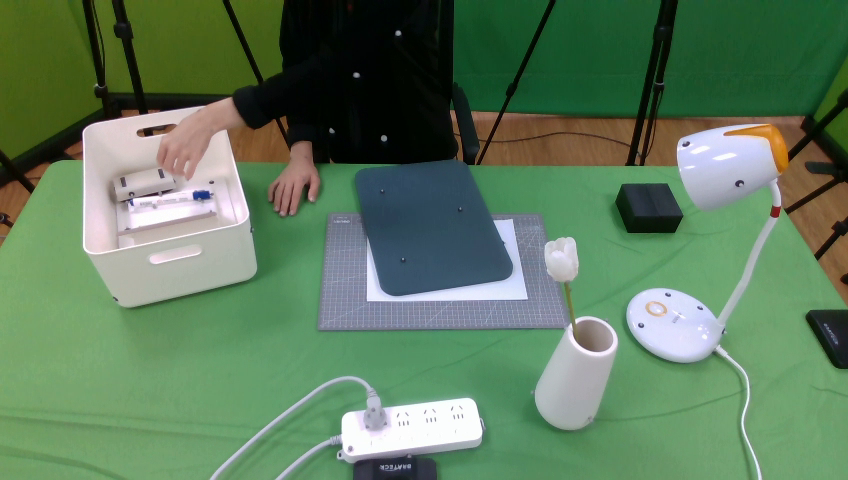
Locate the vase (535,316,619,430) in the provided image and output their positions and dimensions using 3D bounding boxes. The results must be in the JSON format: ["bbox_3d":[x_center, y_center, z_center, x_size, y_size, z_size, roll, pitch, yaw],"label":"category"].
[{"bbox_3d":[0.229,0.200,0.900,0.098,0.201,0.097,3,46,-3],"label":"vase"}]

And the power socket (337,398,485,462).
[{"bbox_3d":[-0.018,0.285,0.914,0.227,0.033,0.071,-4,46,-8],"label":"power socket"}]

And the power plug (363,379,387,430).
[{"bbox_3d":[-0.072,0.252,0.911,0.035,0.053,0.072,3,40,0],"label":"power plug"}]

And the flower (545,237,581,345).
[{"bbox_3d":[0.213,0.137,0.846,0.038,0.364,0.044,21,55,40],"label":"flower"}]

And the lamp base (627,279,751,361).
[{"bbox_3d":[0.460,0.100,1.027,0.178,0.181,0.160,27,51,17],"label":"lamp base"}]

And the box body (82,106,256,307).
[{"bbox_3d":[-0.471,-0.070,1.131,0.254,0.161,0.361,-14,49,-17],"label":"box body"}]

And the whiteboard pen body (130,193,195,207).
[{"bbox_3d":[-0.499,-0.080,1.187,0.141,0.017,0.017,-8,47,-16],"label":"whiteboard pen body"}]

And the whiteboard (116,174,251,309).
[{"bbox_3d":[-0.473,-0.055,1.130,0.217,0.144,0.303,-15,50,-16],"label":"whiteboard"}]

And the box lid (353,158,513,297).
[{"bbox_3d":[0.008,-0.039,1.242,0.264,0.015,0.369,-8,47,-12],"label":"box lid"}]

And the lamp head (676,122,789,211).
[{"bbox_3d":[0.423,-0.104,0.819,0.122,0.113,0.112,-13,33,40],"label":"lamp head"}]

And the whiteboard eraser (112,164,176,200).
[{"bbox_3d":[-0.567,-0.115,1.230,0.113,0.042,0.055,-17,57,-22],"label":"whiteboard eraser"}]

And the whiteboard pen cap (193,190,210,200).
[{"bbox_3d":[-0.443,-0.089,1.204,0.033,0.018,0.018,-9,48,-16],"label":"whiteboard pen cap"}]
